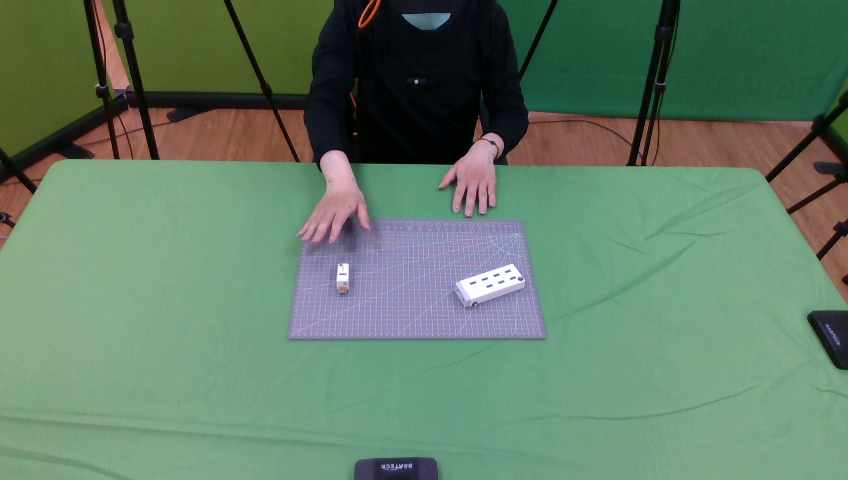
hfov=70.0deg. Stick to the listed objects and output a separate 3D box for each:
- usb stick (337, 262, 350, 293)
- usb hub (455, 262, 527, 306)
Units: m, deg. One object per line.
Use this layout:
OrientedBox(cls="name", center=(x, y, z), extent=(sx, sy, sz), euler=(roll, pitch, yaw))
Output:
OrientedBox(cls="usb stick", center=(-0.148, 0.070, 1.109), extent=(0.021, 0.027, 0.059), euler=(1, 49, -4))
OrientedBox(cls="usb hub", center=(0.124, 0.082, 1.117), extent=(0.125, 0.025, 0.049), euler=(-17, 50, -18))
